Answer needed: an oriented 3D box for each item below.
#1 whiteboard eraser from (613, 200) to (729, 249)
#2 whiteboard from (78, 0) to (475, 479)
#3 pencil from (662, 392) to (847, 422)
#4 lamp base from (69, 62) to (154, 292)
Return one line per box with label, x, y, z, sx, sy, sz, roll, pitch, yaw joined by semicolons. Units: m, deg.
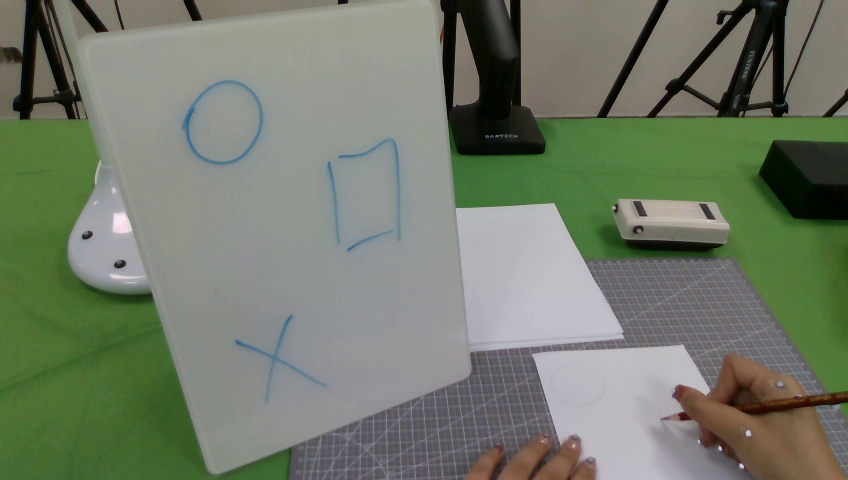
whiteboard eraser;0.271;-0.016;0.669;0.113;0.042;0.055;3;40;-1
whiteboard;-0.099;-0.014;0.475;0.218;0.307;0.142;-15;23;-20
pencil;0.246;0.114;0.416;0.012;0.194;0.012;14;63;-30
lamp base;-0.282;-0.068;0.580;0.178;0.182;0.160;25;44;28
